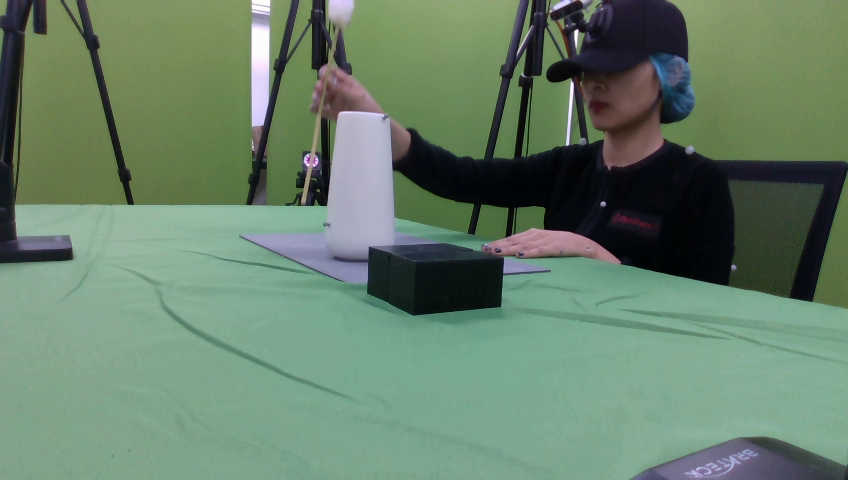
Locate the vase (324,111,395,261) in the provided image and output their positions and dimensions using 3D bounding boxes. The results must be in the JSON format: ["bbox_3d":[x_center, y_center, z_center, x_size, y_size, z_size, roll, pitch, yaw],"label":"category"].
[{"bbox_3d":[-0.087,-0.074,0.828,0.098,0.200,0.098,2,9,0],"label":"vase"}]

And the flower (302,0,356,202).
[{"bbox_3d":[-0.156,-0.234,0.951,0.038,0.361,0.044,18,-13,-40],"label":"flower"}]
